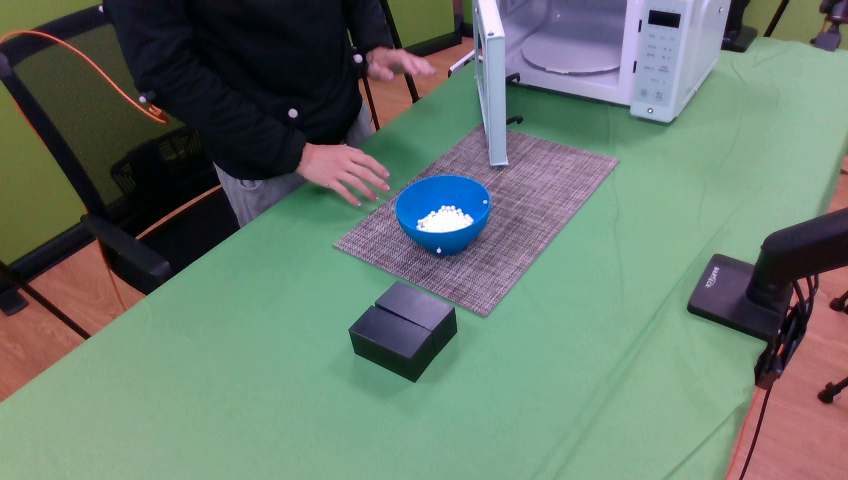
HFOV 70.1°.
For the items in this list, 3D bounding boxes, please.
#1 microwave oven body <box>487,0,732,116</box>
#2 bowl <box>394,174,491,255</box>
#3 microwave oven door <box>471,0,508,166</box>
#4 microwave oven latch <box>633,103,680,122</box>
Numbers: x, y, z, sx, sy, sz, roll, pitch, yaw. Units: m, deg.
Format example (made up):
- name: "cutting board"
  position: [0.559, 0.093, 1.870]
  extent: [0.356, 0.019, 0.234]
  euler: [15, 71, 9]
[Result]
- name: "microwave oven body"
  position: [0.377, -0.462, 1.267]
  extent: [0.438, 0.261, 0.327]
  euler: [21, 48, 30]
- name: "bowl"
  position: [0.032, -0.030, 0.949]
  extent: [0.151, 0.077, 0.150]
  euler: [-4, 40, 4]
- name: "microwave oven door"
  position: [0.122, -0.340, 1.154]
  extent: [0.039, 0.245, 0.354]
  euler: [-5, 40, 3]
- name: "microwave oven latch"
  position: [0.443, -0.249, 1.157]
  extent: [0.078, 0.029, 0.030]
  euler: [21, 48, 30]
